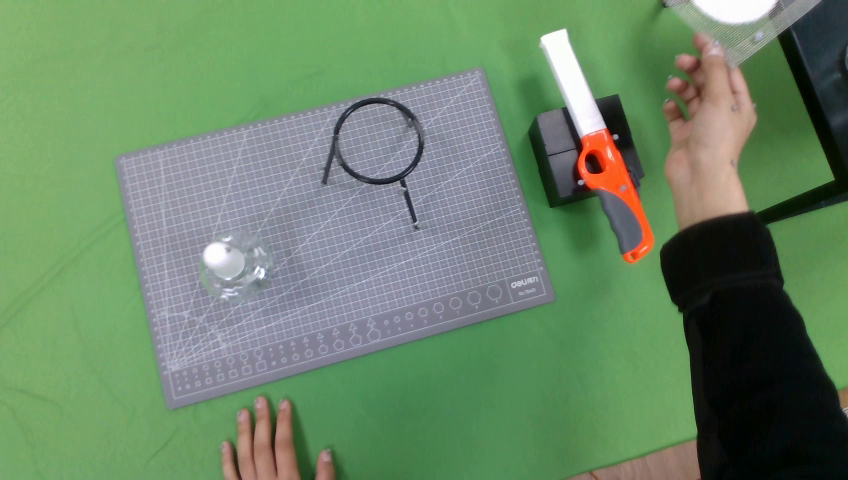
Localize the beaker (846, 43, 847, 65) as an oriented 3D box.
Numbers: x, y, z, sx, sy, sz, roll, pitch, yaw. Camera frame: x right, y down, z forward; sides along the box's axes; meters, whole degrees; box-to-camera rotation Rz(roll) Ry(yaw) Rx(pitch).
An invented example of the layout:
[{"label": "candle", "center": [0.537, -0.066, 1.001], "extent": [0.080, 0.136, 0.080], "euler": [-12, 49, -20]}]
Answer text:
[{"label": "beaker", "center": [0.430, -0.182, 0.526], "extent": [0.084, 0.100, 0.074], "euler": [41, 81, 5]}]

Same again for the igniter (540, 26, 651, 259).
[{"label": "igniter", "center": [0.191, -0.112, 0.675], "extent": [0.057, 0.025, 0.275], "euler": [-18, 80, -4]}]

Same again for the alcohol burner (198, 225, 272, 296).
[{"label": "alcohol burner", "center": [-0.202, 0.020, 0.636], "extent": [0.078, 0.119, 0.077], "euler": [0, 82, -2]}]

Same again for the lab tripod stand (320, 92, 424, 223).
[{"label": "lab tripod stand", "center": [-0.047, -0.095, 0.651], "extent": [0.148, 0.132, 0.147], "euler": [0, 79, -2]}]

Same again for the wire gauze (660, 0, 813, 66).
[{"label": "wire gauze", "center": [0.280, -0.236, 0.549], "extent": [0.125, 0.011, 0.121], "euler": [-39, 85, -4]}]

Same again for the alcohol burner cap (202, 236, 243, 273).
[{"label": "alcohol burner cap", "center": [-0.202, 0.012, 0.600], "extent": [0.034, 0.048, 0.033], "euler": [1, 73, -2]}]
